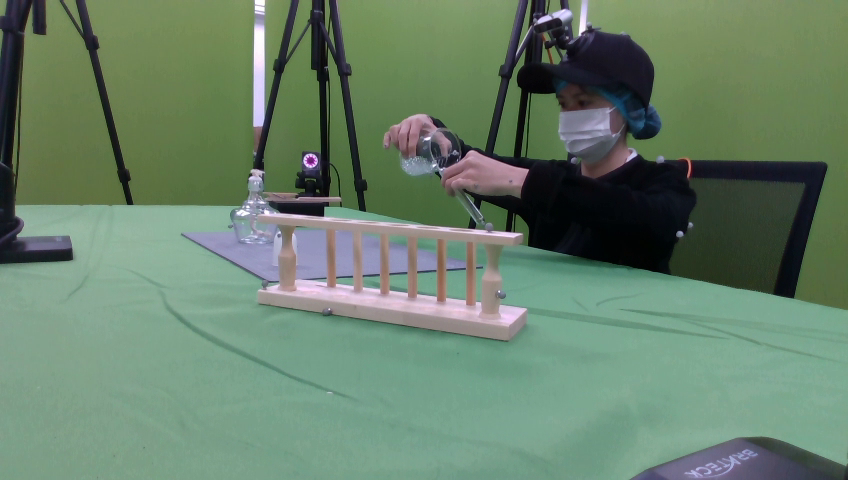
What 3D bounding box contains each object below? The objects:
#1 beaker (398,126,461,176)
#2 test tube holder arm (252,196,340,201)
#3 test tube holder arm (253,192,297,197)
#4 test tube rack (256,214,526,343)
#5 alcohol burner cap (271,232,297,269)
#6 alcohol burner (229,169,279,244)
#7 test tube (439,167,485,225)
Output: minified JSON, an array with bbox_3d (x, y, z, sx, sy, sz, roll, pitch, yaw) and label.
[{"bbox_3d":[0.006,-0.153,1.089,0.074,0.084,0.100,13,-12,-37],"label":"beaker"},{"bbox_3d":[-0.260,-0.087,1.242,0.179,0.013,0.015,-1,7,-25],"label":"test tube holder arm"},{"bbox_3d":[-0.301,-0.092,1.223,0.088,0.010,0.015,0,7,-25],"label":"test tube holder arm"},{"bbox_3d":[-0.032,0.027,0.547,0.241,0.085,0.067,6,7,22],"label":"test tube rack"},{"bbox_3d":[-0.175,0.012,0.760,0.034,0.048,0.034,2,8,0],"label":"alcohol burner cap"},{"bbox_3d":[-0.268,-0.053,0.958,0.078,0.119,0.078,2,6,0],"label":"alcohol burner"},{"bbox_3d":[0.061,-0.073,1.000,0.017,0.017,0.149,-1,40,-30],"label":"test tube"}]
